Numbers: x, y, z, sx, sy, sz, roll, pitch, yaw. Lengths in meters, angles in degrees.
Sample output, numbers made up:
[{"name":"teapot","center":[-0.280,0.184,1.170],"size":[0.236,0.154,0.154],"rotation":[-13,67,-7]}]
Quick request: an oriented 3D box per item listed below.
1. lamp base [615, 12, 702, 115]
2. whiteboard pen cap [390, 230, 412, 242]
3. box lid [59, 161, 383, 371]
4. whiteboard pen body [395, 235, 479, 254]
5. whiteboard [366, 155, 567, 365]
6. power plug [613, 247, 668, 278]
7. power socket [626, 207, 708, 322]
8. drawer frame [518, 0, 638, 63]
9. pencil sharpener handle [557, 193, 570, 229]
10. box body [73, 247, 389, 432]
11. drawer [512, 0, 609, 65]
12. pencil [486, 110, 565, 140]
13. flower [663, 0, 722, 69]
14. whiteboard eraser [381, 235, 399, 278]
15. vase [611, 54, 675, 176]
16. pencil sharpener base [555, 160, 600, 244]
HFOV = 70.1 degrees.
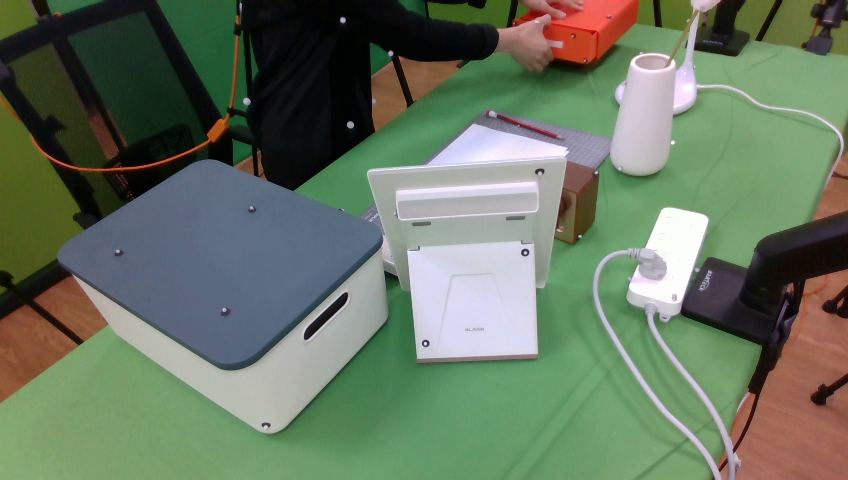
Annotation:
[{"name":"lamp base","center":[0.484,-0.363,1.211],"size":[0.180,0.181,0.159],"rotation":[-15,41,-14]},{"name":"whiteboard pen cap","center":[-0.037,-0.006,0.980],"size":[0.033,0.018,0.018],"rotation":[9,43,17]},{"name":"box lid","center":[-0.262,0.010,0.777],"size":[0.369,0.015,0.264],"rotation":[21,48,29]},{"name":"whiteboard pen body","center":[0.019,0.005,0.962],"size":[0.140,0.017,0.017],"rotation":[9,43,17]},{"name":"whiteboard","center":[0.059,0.049,0.738],"size":[0.217,0.307,0.143],"rotation":[-3,60,5]},{"name":"power plug","center":[0.306,0.032,0.851],"size":[0.072,0.053,0.035],"rotation":[24,49,34]},{"name":"power socket","center":[0.359,0.026,0.886],"size":[0.072,0.033,0.227],"rotation":[16,46,26]},{"name":"drawer frame","center":[0.358,-0.509,1.412],"size":[0.200,0.083,0.214],"rotation":[23,51,31]},{"name":"pencil sharpener handle","center":[0.195,-0.038,0.908],"size":[0.035,0.068,0.031],"rotation":[24,50,30]},{"name":"box body","center":[-0.255,0.065,0.827],"size":[0.361,0.161,0.255],"rotation":[21,48,29]},{"name":"drawer","center":[0.339,-0.493,1.392],"size":[0.193,0.073,0.212],"rotation":[23,49,32]},{"name":"pencil","center":[0.204,-0.233,1.226],"size":[0.192,0.012,0.012],"rotation":[29,52,33]},{"name":"flower","center":[0.379,-0.261,0.965],"size":[0.044,0.362,0.038],"rotation":[20,53,5]},{"name":"whiteboard eraser","center":[-0.066,0.022,0.945],"size":[0.112,0.042,0.056],"rotation":[20,49,28]},{"name":"vase","center":[0.377,-0.209,1.031],"size":[0.098,0.201,0.097],"rotation":[-3,40,3]},{"name":"pencil sharpener base","center":[0.228,-0.057,0.945],"size":[0.061,0.107,0.077],"rotation":[24,50,31]}]
